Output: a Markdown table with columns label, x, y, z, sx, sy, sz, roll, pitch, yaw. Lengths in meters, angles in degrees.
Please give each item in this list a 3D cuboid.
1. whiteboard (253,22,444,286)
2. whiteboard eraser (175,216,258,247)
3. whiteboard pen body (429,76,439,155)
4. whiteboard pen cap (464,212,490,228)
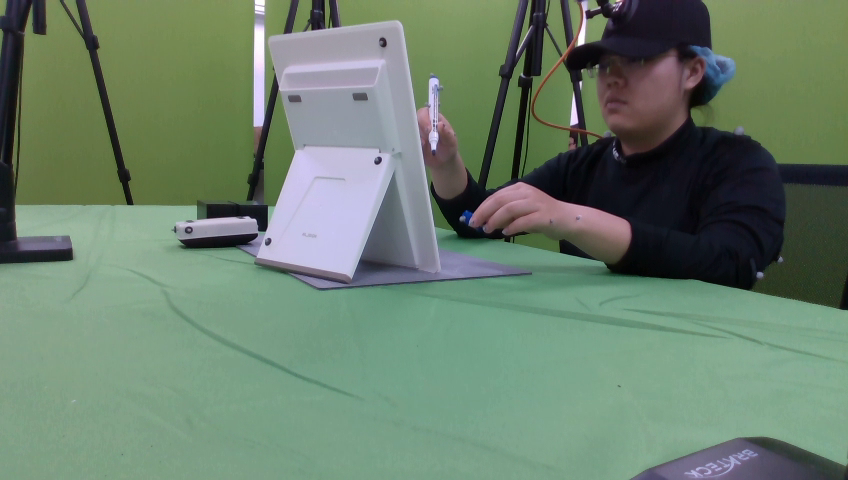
| label | x | y | z | sx | sy | sz | roll | pitch | yaw |
| --- | --- | --- | --- | --- | --- | --- | --- | --- | --- |
| whiteboard | -0.125 | -0.081 | 0.715 | 0.216 | 0.305 | 0.144 | 9 | 29 | 36 |
| whiteboard eraser | -0.313 | -0.013 | 0.914 | 0.113 | 0.042 | 0.055 | -5 | 12 | -30 |
| whiteboard pen body | 0.015 | -0.188 | 0.913 | 0.017 | 0.140 | 0.017 | 0 | -24 | 0 |
| whiteboard pen cap | 0.070 | -0.026 | 0.804 | 0.033 | 0.018 | 0.018 | 13 | 6 | -8 |
